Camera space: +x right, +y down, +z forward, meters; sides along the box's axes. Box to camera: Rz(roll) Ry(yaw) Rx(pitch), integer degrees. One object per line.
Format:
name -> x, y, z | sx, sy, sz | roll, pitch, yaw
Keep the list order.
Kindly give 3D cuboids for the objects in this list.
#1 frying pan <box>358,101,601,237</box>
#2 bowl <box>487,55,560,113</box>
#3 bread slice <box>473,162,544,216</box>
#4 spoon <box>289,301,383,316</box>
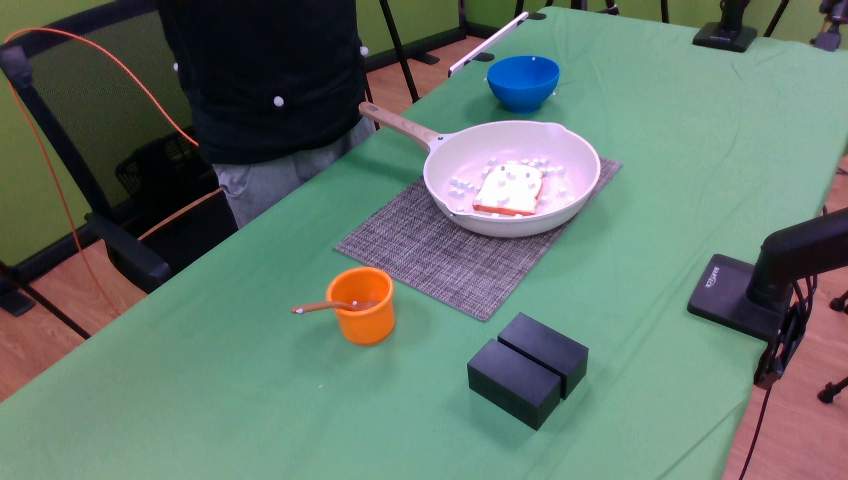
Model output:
frying pan -> 0.067, -0.153, 1.067 | 0.484, 0.103, 0.308 | 32, 52, 26
bowl -> 0.207, -0.319, 1.266 | 0.151, 0.077, 0.150 | -4, 41, 4
bread slice -> 0.150, -0.088, 1.041 | 0.106, 0.018, 0.134 | 7, 44, 16
spoon -> -0.112, 0.087, 0.785 | 0.041, 0.195, 0.021 | 14, 89, 27
